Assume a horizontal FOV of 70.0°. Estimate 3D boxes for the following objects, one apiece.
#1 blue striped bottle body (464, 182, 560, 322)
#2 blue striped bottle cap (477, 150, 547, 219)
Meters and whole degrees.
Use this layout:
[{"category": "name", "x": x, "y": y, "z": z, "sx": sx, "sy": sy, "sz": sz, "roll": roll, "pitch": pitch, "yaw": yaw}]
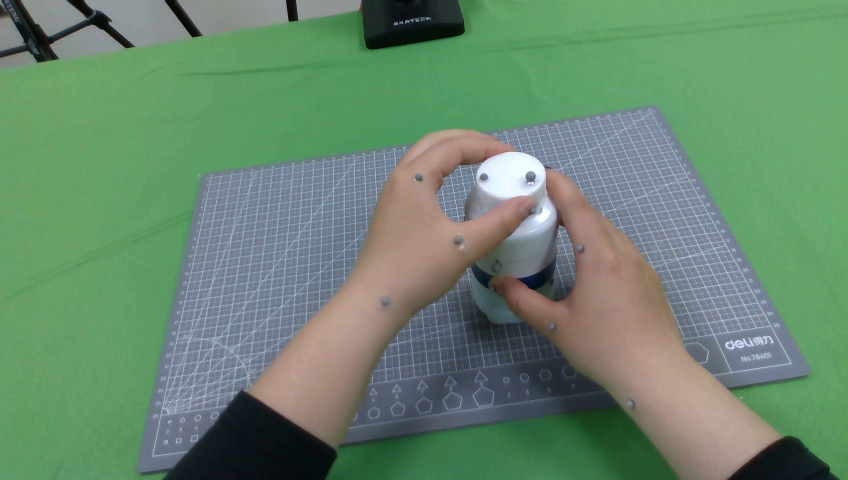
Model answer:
[{"category": "blue striped bottle body", "x": 0.061, "y": -0.001, "z": 0.419, "sx": 0.063, "sy": 0.122, "sz": 0.062, "roll": -4, "pitch": 49, "yaw": 5}, {"category": "blue striped bottle cap", "x": 0.055, "y": -0.036, "z": 0.380, "sx": 0.044, "sy": 0.021, "sz": 0.044, "roll": -4, "pitch": 51, "yaw": 5}]
